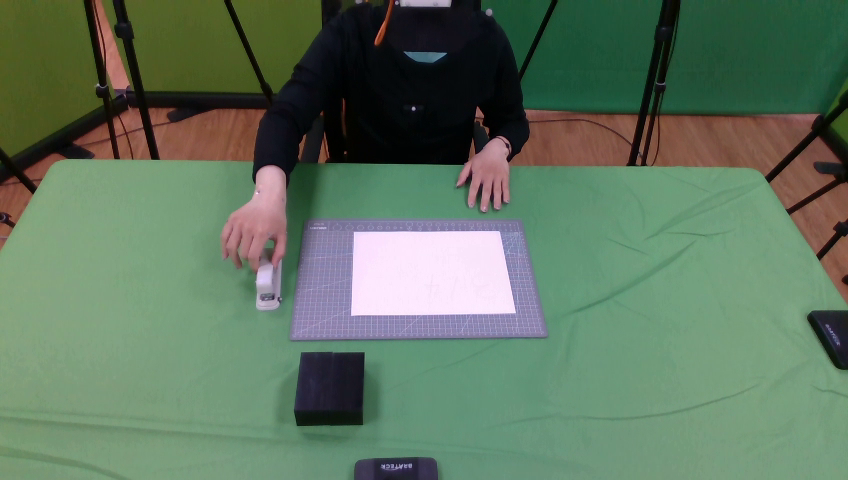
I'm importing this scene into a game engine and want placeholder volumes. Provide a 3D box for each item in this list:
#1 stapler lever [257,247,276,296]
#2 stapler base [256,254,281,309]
[{"bbox_3d":[-0.283,0.050,1.090,0.027,0.040,0.117,-2,44,-9],"label":"stapler lever"},{"bbox_3d":[-0.284,0.069,1.107,0.041,0.024,0.129,-1,45,-9],"label":"stapler base"}]
